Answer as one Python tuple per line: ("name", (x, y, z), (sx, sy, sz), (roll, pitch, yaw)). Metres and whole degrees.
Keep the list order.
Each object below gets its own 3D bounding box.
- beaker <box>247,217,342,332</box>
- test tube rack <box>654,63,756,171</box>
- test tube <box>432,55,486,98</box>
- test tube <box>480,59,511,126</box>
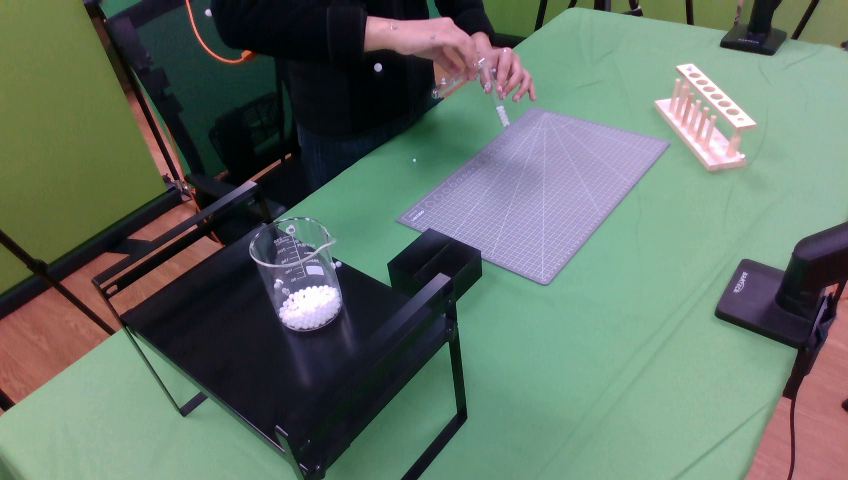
("beaker", (-0.124, 0.037, 0.614), (0.084, 0.101, 0.073), (-7, 41, 0))
("test tube rack", (0.510, -0.233, 1.120), (0.067, 0.085, 0.241), (-8, 41, -1))
("test tube", (0.055, -0.254, 0.933), (0.017, 0.017, 0.151), (19, 43, 27))
("test tube", (0.125, -0.251, 1.045), (0.017, 0.151, 0.017), (-12, 54, 17))
